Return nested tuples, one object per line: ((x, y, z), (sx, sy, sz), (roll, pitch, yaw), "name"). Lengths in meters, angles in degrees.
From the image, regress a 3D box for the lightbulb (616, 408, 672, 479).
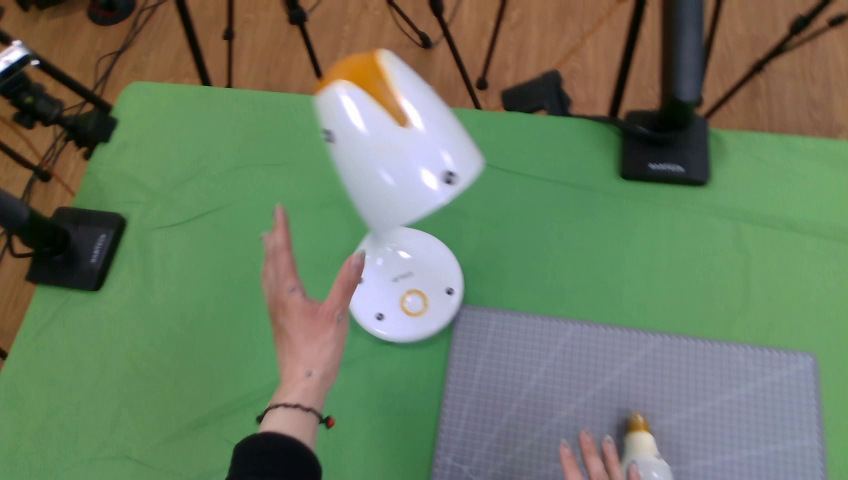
((0.249, 0.244, 0.695), (0.059, 0.060, 0.106), (2, 51, 6), "lightbulb")

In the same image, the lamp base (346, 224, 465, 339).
((-0.038, 0.014, 0.751), (0.160, 0.182, 0.177), (-31, 64, -9), "lamp base")

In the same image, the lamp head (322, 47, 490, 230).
((-0.024, -0.086, 0.475), (0.112, 0.112, 0.123), (-37, 106, -11), "lamp head")
